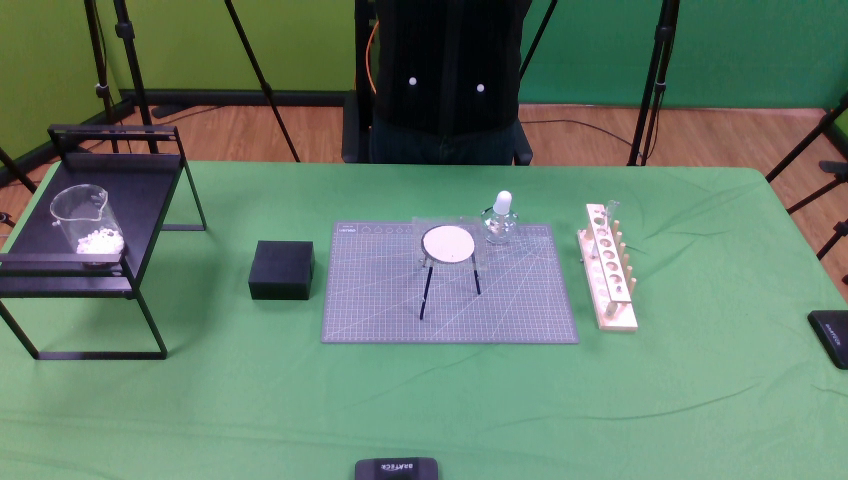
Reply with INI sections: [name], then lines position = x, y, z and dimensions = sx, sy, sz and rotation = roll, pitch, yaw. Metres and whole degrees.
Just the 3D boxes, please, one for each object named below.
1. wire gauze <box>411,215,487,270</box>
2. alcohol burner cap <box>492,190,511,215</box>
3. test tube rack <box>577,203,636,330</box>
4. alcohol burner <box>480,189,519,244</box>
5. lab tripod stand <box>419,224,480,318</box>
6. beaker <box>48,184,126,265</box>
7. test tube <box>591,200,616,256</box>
[wire gauze]
position = 0.041, 0.002, 1.026
dimensions = 0.125, 0.011, 0.120
rotation = 1, 46, -3
[alcohol burner cap]
position = 0.151, -0.076, 1.165
dimensions = 0.034, 0.048, 0.033
rotation = 5, 49, -6
[test tube rack]
position = 0.348, 0.045, 1.138
dimensions = 0.067, 0.085, 0.241
rotation = 2, 46, -2
[alcohol burner]
position = 0.150, -0.051, 1.191
dimensions = 0.078, 0.120, 0.077
rotation = 1, 46, -1
[lab tripod stand]
position = 0.034, 0.052, 1.070
dimensions = 0.148, 0.132, 0.147
rotation = 3, 48, -3
[beaker]
position = -0.479, -0.018, 0.875
dimensions = 0.083, 0.101, 0.074
rotation = 30, 52, 22
[test tube]
position = 0.333, -0.019, 1.130
dimensions = 0.017, 0.151, 0.017
rotation = 0, 51, 0
